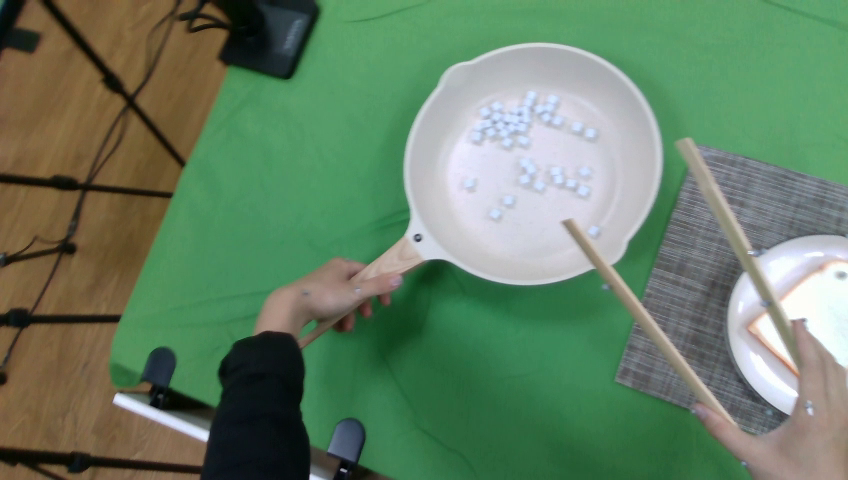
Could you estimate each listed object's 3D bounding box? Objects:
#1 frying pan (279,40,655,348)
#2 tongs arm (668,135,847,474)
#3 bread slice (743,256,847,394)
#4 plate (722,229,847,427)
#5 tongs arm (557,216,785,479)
[{"bbox_3d":[0.034,-0.030,0.712,0.488,0.103,0.305,-35,74,-7],"label":"frying pan"},{"bbox_3d":[0.303,0.084,0.541,0.051,0.026,0.385,-33,94,-7],"label":"tongs arm"},{"bbox_3d":[0.429,0.084,0.653,0.106,0.018,0.134,44,91,14],"label":"bread slice"},{"bbox_3d":[0.428,0.092,0.650,0.207,0.039,0.206,-2,78,10],"label":"plate"},{"bbox_3d":[0.247,0.123,0.535,0.028,0.028,0.388,-42,95,-10],"label":"tongs arm"}]
